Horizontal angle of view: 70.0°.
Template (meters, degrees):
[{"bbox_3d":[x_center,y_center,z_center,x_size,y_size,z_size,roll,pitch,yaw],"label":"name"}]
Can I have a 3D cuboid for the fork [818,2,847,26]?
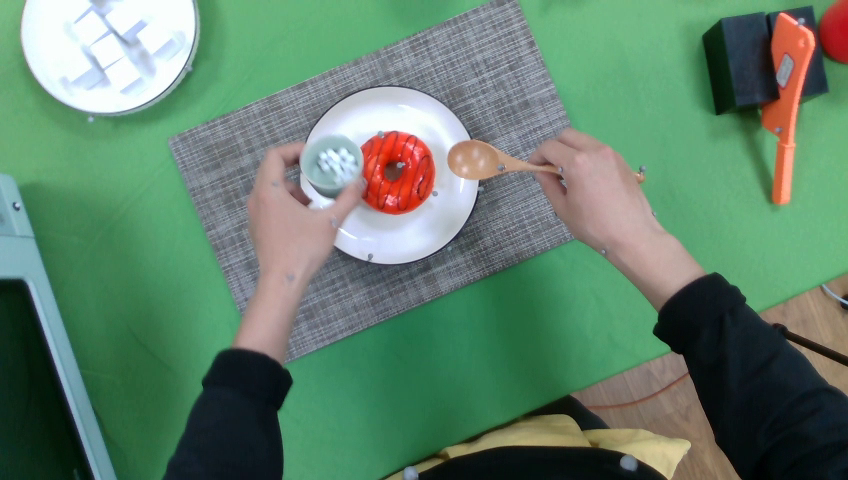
[{"bbox_3d":[0.548,-0.259,0.654,0.206,0.019,0.028,5,86,42],"label":"fork"}]

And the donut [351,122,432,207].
[{"bbox_3d":[-0.040,-0.086,0.693,0.099,0.048,0.099,0,91,2],"label":"donut"}]

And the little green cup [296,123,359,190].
[{"bbox_3d":[-0.094,-0.081,0.607,0.061,0.039,0.061,-1,70,2],"label":"little green cup"}]

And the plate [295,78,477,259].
[{"bbox_3d":[-0.043,-0.081,0.704,0.209,0.038,0.209,0,89,1],"label":"plate"}]

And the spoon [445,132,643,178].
[{"bbox_3d":[0.115,-0.077,0.597,0.193,0.022,0.041,10,97,20],"label":"spoon"}]

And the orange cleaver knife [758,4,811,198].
[{"bbox_3d":[0.399,-0.153,0.684,0.012,0.076,0.213,-8,118,3],"label":"orange cleaver knife"}]

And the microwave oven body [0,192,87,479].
[{"bbox_3d":[-0.564,0.166,0.591,0.326,0.260,0.441,-20,89,-1],"label":"microwave oven body"}]

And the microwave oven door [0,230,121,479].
[{"bbox_3d":[-0.412,0.156,0.585,0.039,0.244,0.355,-21,88,0],"label":"microwave oven door"}]

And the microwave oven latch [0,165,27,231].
[{"bbox_3d":[-0.485,-0.047,0.691,0.030,0.029,0.079,-19,89,-1],"label":"microwave oven latch"}]

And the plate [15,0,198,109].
[{"bbox_3d":[-0.367,-0.254,0.713,0.208,0.039,0.207,0,89,0],"label":"plate"}]
